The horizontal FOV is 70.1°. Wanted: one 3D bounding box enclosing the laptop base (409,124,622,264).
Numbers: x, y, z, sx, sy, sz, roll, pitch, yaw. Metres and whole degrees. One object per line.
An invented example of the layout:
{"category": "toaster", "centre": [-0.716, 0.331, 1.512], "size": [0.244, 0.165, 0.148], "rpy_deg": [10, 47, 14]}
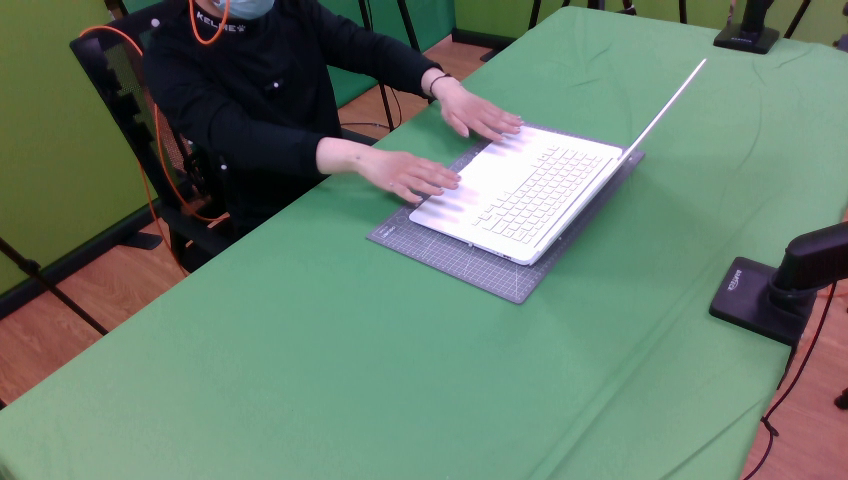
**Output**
{"category": "laptop base", "centre": [0.168, -0.095, 1.057], "size": [0.233, 0.023, 0.355], "rpy_deg": [20, 47, 33]}

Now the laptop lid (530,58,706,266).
{"category": "laptop lid", "centre": [0.293, -0.118, 0.905], "size": [0.013, 0.241, 0.357], "rpy_deg": [40, 53, 9]}
